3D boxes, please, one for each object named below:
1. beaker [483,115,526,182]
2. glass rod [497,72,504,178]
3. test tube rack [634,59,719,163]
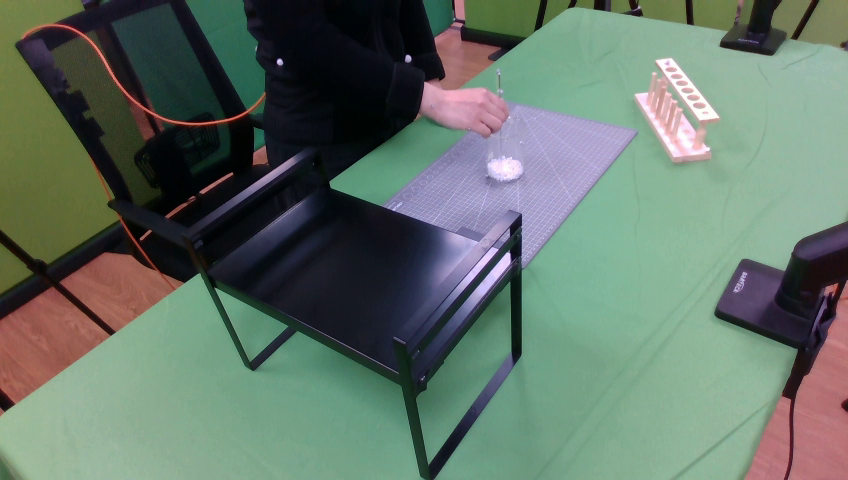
[{"bbox_3d":[0.147,-0.162,1.080,0.073,0.101,0.084,13,44,22],"label":"beaker"},{"bbox_3d":[0.132,-0.191,1.032,0.008,0.200,0.008,-5,38,4],"label":"glass rod"},{"bbox_3d":[0.470,-0.250,1.148,0.067,0.085,0.241,-6,40,3],"label":"test tube rack"}]
